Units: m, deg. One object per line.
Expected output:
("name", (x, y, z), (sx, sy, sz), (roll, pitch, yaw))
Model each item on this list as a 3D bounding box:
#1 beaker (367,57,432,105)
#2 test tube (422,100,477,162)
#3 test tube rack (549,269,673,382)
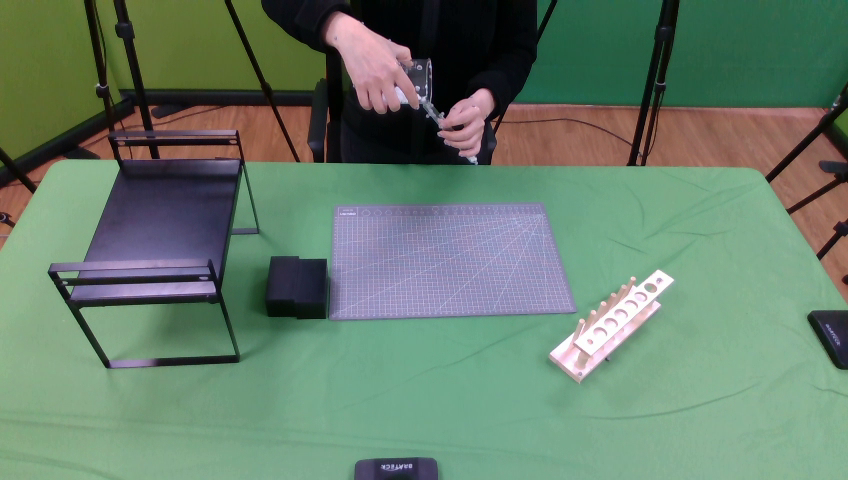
("beaker", (-0.041, -0.255, 0.980), (0.100, 0.084, 0.073), (-1, 49, -6))
("test tube", (0.047, -0.187, 1.054), (0.017, 0.151, 0.017), (-29, 38, 25))
("test tube rack", (0.325, 0.134, 1.047), (0.242, 0.085, 0.066), (-32, 56, -30))
